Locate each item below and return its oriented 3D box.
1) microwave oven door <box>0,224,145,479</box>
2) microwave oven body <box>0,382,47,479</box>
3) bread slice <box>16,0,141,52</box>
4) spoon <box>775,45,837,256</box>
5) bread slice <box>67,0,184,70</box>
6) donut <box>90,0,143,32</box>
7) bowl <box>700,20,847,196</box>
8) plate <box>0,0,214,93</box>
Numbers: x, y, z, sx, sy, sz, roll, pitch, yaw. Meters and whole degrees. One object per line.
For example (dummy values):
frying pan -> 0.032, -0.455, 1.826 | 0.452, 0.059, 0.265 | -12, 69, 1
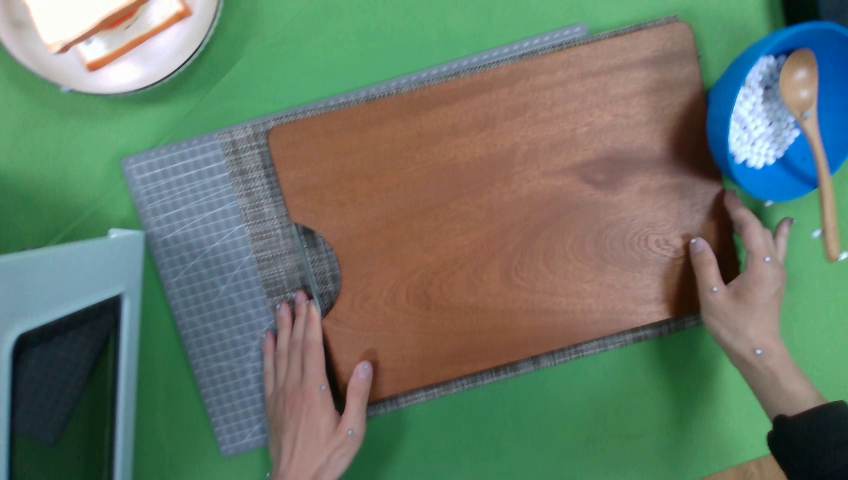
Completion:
microwave oven door -> -0.277, 0.174, 0.453 | 0.039, 0.243, 0.356 | 4, 96, -4
microwave oven body -> -0.498, 0.190, 0.443 | 0.326, 0.259, 0.443 | -19, 98, -2
bread slice -> -0.282, -0.225, 0.468 | 0.107, 0.018, 0.134 | -34, 92, 2
spoon -> 0.350, -0.077, 0.545 | 0.042, 0.021, 0.194 | -17, 96, -11
bread slice -> -0.291, -0.230, 0.526 | 0.105, 0.019, 0.132 | -31, 98, -2
donut -> -0.279, -0.222, 0.497 | 0.099, 0.048, 0.099 | -1, 99, -7
bowl -> 0.308, -0.122, 0.549 | 0.152, 0.076, 0.152 | -7, 114, -15
plate -> -0.283, -0.232, 0.525 | 0.208, 0.039, 0.208 | 0, 97, -4
